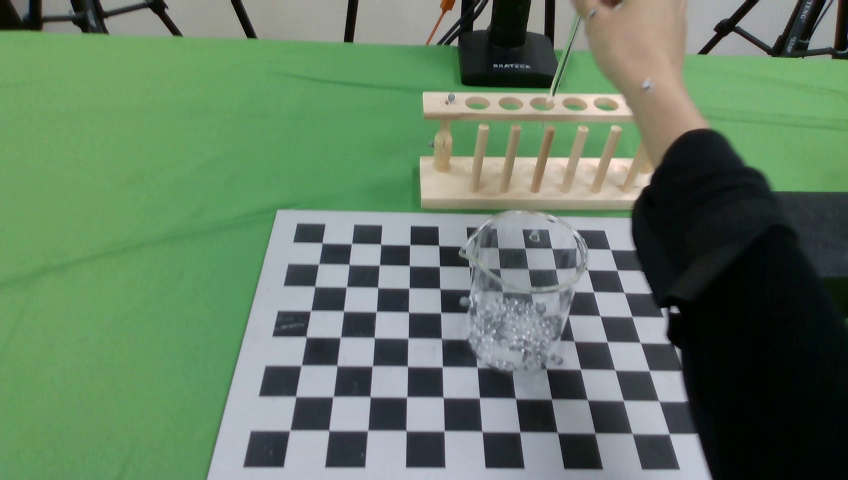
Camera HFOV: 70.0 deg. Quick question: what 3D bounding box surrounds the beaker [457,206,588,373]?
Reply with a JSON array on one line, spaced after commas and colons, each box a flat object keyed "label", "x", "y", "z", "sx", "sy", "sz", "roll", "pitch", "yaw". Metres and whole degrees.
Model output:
[{"label": "beaker", "x": 0.062, "y": 0.038, "z": 0.419, "sx": 0.084, "sy": 0.101, "sz": 0.073, "roll": 1, "pitch": 44, "yaw": -1}]

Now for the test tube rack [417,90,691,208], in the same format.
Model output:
[{"label": "test tube rack", "x": 0.116, "y": -0.083, "z": 0.561, "sx": 0.242, "sy": 0.086, "sz": 0.066, "roll": 0, "pitch": 45, "yaw": -4}]

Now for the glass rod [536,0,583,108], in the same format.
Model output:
[{"label": "glass rod", "x": 0.117, "y": -0.177, "z": 0.477, "sx": 0.008, "sy": 0.201, "sz": 0.008, "roll": 6, "pitch": 49, "yaw": -6}]
